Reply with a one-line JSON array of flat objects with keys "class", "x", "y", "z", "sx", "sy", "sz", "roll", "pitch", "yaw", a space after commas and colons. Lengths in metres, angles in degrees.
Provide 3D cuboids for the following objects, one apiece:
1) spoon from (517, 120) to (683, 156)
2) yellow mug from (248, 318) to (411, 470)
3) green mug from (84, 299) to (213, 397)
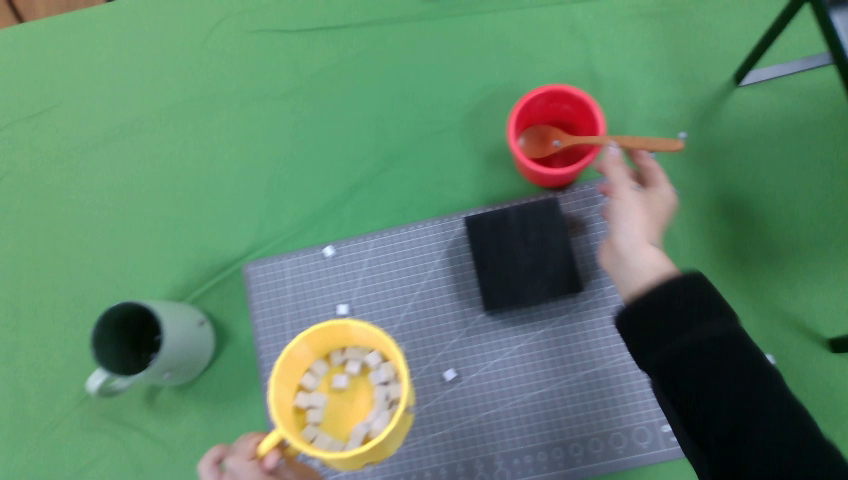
[{"class": "spoon", "x": 0.167, "y": -0.100, "z": 0.607, "sx": 0.192, "sy": 0.022, "sz": 0.041, "roll": 16, "pitch": 82, "yaw": 54}, {"class": "yellow mug", "x": -0.073, "y": 0.125, "z": 0.450, "sx": 0.131, "sy": 0.064, "sz": 0.099, "roll": -38, "pitch": 68, "yaw": -15}, {"class": "green mug", "x": -0.296, "y": 0.118, "z": 0.637, "sx": 0.125, "sy": 0.105, "sz": 0.092, "roll": -45, "pitch": 78, "yaw": -3}]
